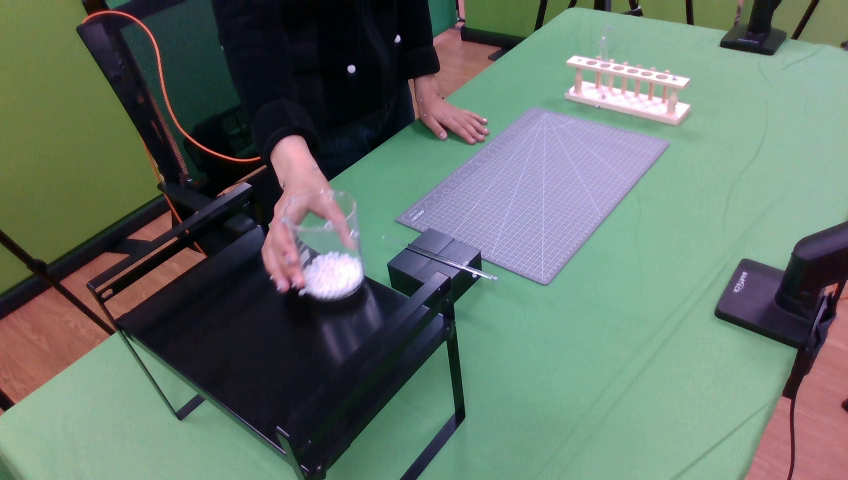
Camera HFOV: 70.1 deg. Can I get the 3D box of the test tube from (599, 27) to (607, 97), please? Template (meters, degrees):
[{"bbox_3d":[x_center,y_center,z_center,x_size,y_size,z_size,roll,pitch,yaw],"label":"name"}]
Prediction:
[{"bbox_3d":[0.358,-0.353,1.211,0.017,0.151,0.017,-8,43,8],"label":"test tube"}]

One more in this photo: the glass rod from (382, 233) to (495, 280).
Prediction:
[{"bbox_3d":[0.017,0.022,0.882,0.198,0.008,0.008,21,48,30],"label":"glass rod"}]

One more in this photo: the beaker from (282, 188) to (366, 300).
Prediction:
[{"bbox_3d":[-0.100,0.004,0.634,0.074,0.100,0.084,3,37,8],"label":"beaker"}]

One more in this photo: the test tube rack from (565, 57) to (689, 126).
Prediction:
[{"bbox_3d":[0.412,-0.311,1.230,0.240,0.085,0.067,23,49,32],"label":"test tube rack"}]
